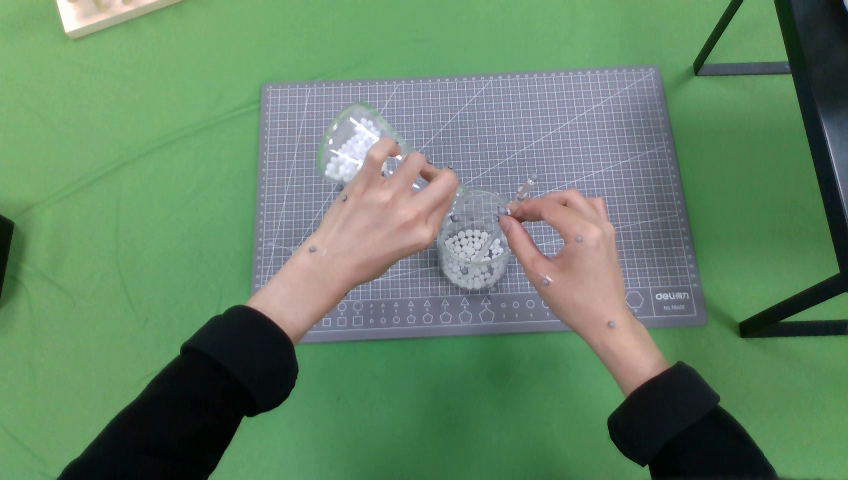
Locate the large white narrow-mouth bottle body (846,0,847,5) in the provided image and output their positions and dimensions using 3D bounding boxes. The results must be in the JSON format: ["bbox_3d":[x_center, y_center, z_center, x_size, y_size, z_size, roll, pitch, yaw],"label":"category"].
[{"bbox_3d":[0.384,-0.232,0.406,0.102,0.196,0.101,-1,70,3],"label":"large white narrow-mouth bottle body"}]

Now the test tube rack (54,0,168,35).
[{"bbox_3d":[-0.324,-0.330,0.701,0.242,0.086,0.066,-23,72,-6],"label":"test tube rack"}]

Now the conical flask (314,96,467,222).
[{"bbox_3d":[-0.024,-0.061,0.508,0.121,0.075,0.075,32,75,8],"label":"conical flask"}]

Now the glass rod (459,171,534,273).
[{"bbox_3d":[0.056,-0.008,0.514,0.008,0.200,0.008,4,66,-10],"label":"glass rod"}]

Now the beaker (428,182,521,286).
[{"bbox_3d":[0.044,-0.002,0.573,0.084,0.101,0.073,20,72,9],"label":"beaker"}]
